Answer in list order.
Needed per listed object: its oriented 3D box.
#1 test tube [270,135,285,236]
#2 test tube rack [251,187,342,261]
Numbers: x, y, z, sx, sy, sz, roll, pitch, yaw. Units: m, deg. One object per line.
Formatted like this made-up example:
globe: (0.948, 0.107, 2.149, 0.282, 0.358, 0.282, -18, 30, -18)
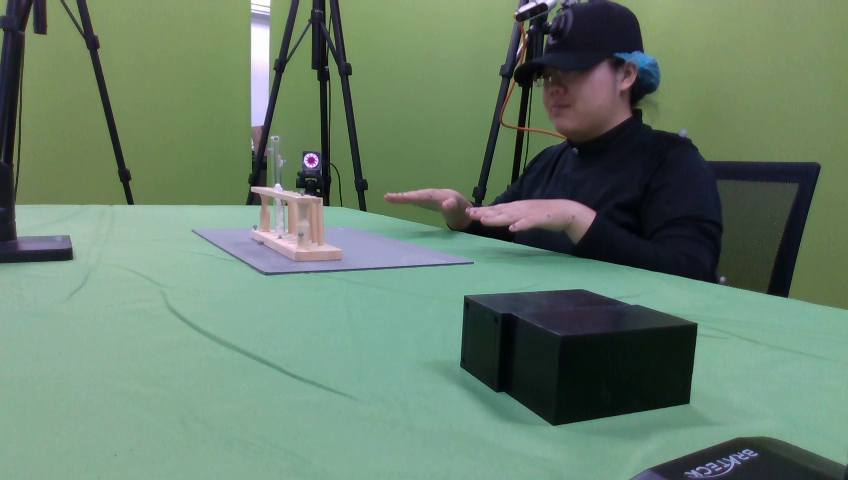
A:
test tube: (-0.218, -0.081, 0.904, 0.017, 0.150, 0.017, -2, 4, 0)
test tube rack: (-0.196, -0.030, 0.902, 0.067, 0.085, 0.241, -2, 8, -29)
